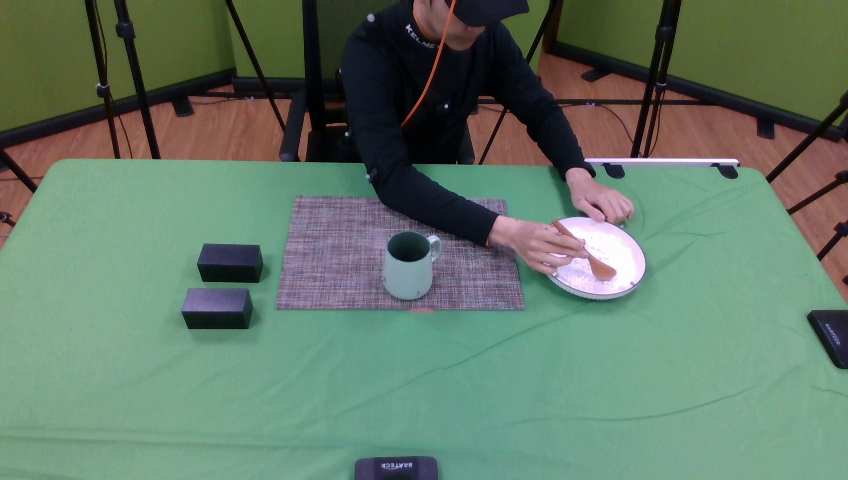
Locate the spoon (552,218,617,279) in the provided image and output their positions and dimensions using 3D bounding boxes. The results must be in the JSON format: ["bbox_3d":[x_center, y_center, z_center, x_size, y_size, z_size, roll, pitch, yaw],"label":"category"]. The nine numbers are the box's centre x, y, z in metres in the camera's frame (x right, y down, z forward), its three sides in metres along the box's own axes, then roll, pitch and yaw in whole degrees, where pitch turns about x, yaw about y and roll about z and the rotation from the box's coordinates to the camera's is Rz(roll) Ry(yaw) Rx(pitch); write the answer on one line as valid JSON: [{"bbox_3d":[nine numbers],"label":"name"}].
[{"bbox_3d":[0.290,0.017,1.105,0.195,0.041,0.021,42,40,-26],"label":"spoon"}]

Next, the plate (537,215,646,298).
[{"bbox_3d":[0.321,0.035,1.176,0.209,0.038,0.208,2,47,-2],"label":"plate"}]

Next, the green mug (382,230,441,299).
[{"bbox_3d":[-0.017,0.037,1.097,0.125,0.105,0.092,-34,57,-31],"label":"green mug"}]
